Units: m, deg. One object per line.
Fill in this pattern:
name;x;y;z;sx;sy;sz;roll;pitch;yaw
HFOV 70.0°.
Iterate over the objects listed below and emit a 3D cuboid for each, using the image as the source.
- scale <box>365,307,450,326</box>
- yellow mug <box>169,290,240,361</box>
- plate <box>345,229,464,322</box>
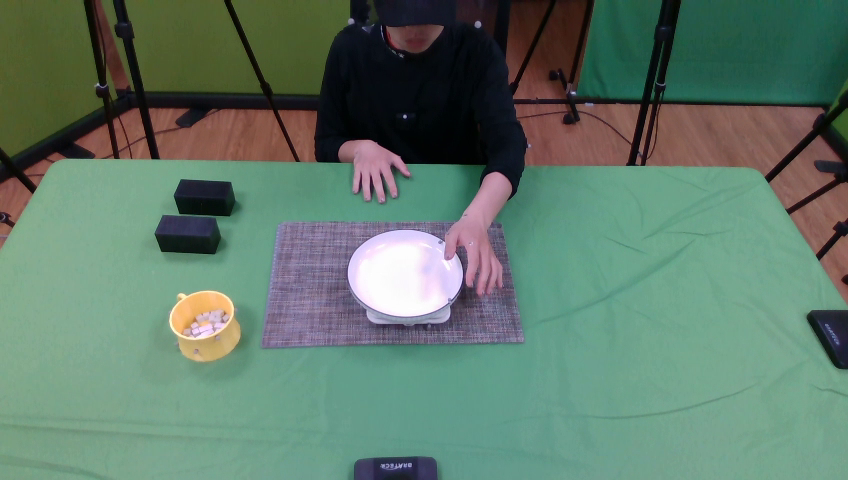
scale;-0.032;0.071;1.113;0.149;0.032;0.199;0;46;-4
yellow mug;-0.373;0.133;1.009;0.130;0.064;0.100;35;53;27
plate;-0.034;0.065;1.072;0.209;0.038;0.208;2;46;-2
